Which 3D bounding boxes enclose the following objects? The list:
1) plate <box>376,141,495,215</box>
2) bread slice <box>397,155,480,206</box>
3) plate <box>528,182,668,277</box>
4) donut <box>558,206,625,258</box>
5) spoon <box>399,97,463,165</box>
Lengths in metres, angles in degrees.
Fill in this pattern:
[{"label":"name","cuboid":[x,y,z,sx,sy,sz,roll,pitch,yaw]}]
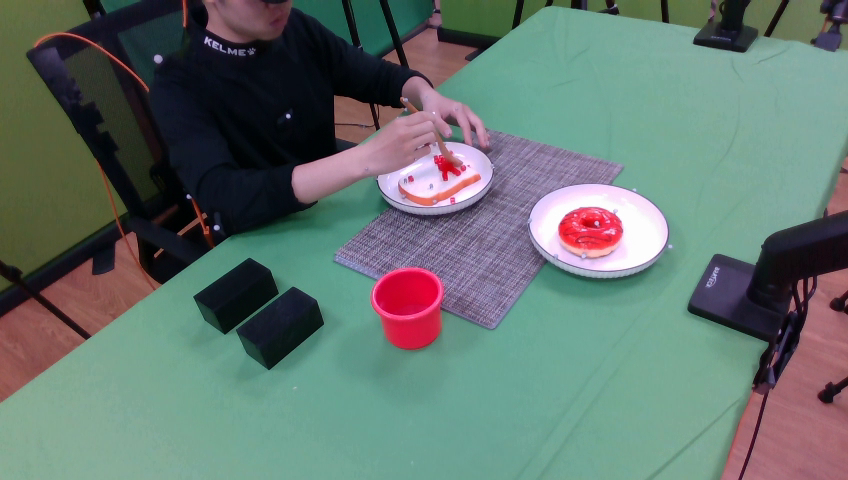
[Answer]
[{"label":"plate","cuboid":[0.022,-0.106,1.072,0.209,0.038,0.208,-4,40,4]},{"label":"bread slice","cuboid":[0.020,-0.106,1.078,0.132,0.019,0.104,-31,46,-29]},{"label":"plate","cuboid":[0.264,-0.014,0.933,0.207,0.039,0.206,-3,42,3]},{"label":"donut","cuboid":[0.254,-0.015,0.917,0.099,0.048,0.098,-5,41,5]},{"label":"spoon","cuboid":[0.014,-0.183,1.025,0.021,0.195,0.041,-46,46,0]}]
